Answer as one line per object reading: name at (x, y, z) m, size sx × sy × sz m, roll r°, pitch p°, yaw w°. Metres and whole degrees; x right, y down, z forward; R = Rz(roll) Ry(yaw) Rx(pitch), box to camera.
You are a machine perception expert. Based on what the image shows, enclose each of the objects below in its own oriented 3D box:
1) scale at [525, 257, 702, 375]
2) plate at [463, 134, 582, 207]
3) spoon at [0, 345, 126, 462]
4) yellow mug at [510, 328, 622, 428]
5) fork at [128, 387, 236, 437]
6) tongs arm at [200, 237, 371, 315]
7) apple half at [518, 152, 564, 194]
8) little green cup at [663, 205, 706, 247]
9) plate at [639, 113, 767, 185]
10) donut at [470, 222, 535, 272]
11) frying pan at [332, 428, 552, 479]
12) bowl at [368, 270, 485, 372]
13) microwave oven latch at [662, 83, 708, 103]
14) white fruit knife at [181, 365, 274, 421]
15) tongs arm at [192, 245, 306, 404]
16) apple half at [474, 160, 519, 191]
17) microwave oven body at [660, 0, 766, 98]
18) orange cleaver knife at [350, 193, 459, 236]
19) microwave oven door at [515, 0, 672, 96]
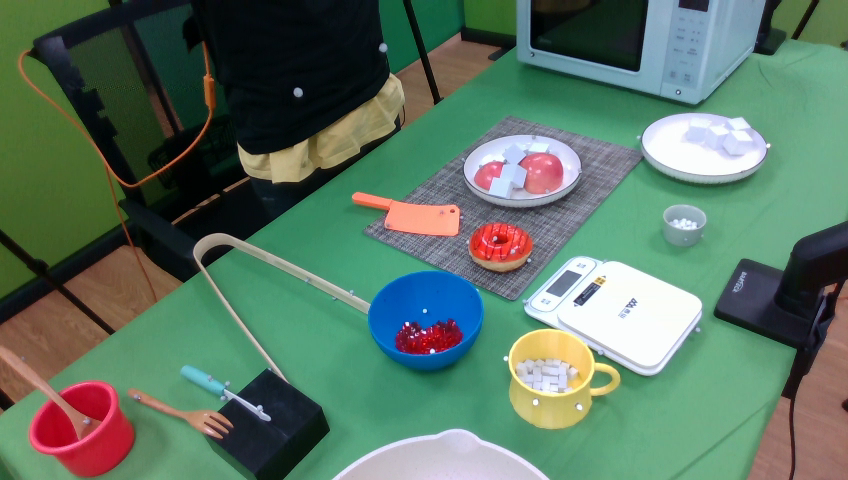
scale at (0.254, 0.091, 0.821) m, size 0.199 × 0.032 × 0.149 m, roll 28°, pitch 51°, yaw 35°
plate at (0.173, -0.119, 1.070) m, size 0.209 × 0.038 × 0.208 m, roll -4°, pitch 40°, yaw 4°
spoon at (-0.434, 0.192, 0.720) m, size 0.194 × 0.021 × 0.042 m, roll 47°, pitch 55°, yaw -7°
yellow mug at (0.168, 0.164, 0.722) m, size 0.130 × 0.064 × 0.099 m, roll 0°, pitch 40°, yaw 8°
fork at (-0.305, 0.207, 0.744) m, size 0.206 × 0.019 × 0.028 m, roll 3°, pitch 41°, yaw 36°
tongs arm at (-0.209, 0.063, 0.924) m, size 0.381 × 0.027 × 0.051 m, roll 22°, pitch 54°, yaw 32°
apple half at (0.204, -0.124, 1.048) m, size 0.075 × 0.053 × 0.080 m, roll -7°, pitch 41°, yaw -3°
little green cup at (0.396, -0.020, 0.926) m, size 0.061 × 0.039 × 0.061 m, roll -4°, pitch 40°, yaw 4°
plate at (0.489, -0.157, 1.074) m, size 0.207 × 0.039 × 0.206 m, roll -4°, pitch 40°, yaw 4°
donut at (0.119, 0.009, 0.923) m, size 0.099 × 0.048 × 0.098 m, roll -4°, pitch 38°, yaw 3°
frying pan at (-0.089, 0.306, 0.564) m, size 0.487 × 0.103 × 0.306 m, roll 10°, pitch 41°, yaw 7°
bowl at (0.007, 0.118, 0.791) m, size 0.151 × 0.077 × 0.150 m, roll -4°, pitch 40°, yaw 4°
microwave oven latch at (0.517, -0.296, 1.204) m, size 0.078 × 0.029 × 0.030 m, roll 28°, pitch 52°, yaw 35°
white fruit knife at (-0.245, 0.187, 0.747) m, size 0.205 × 0.027 × 0.016 m, roll 9°, pitch 41°, yaw 40°
tongs arm at (-0.267, 0.111, 0.884) m, size 0.028 × 0.028 × 0.384 m, roll -37°, pitch 47°, yaw -18°
apple half at (0.130, -0.120, 1.068) m, size 0.081 × 0.033 × 0.081 m, roll -3°, pitch 37°, yaw 3°
microwave oven body at (0.472, -0.513, 1.317) m, size 0.438 × 0.261 × 0.327 m, roll 26°, pitch 51°, yaw 34°
orange cleaver knife at (-0.037, -0.044, 1.028) m, size 0.210 × 0.012 × 0.077 m, roll 10°, pitch 49°, yaw 17°
microwave oven door at (0.343, -0.454, 1.259) m, size 0.353 × 0.245 × 0.039 m, roll 26°, pitch 51°, yaw 33°
